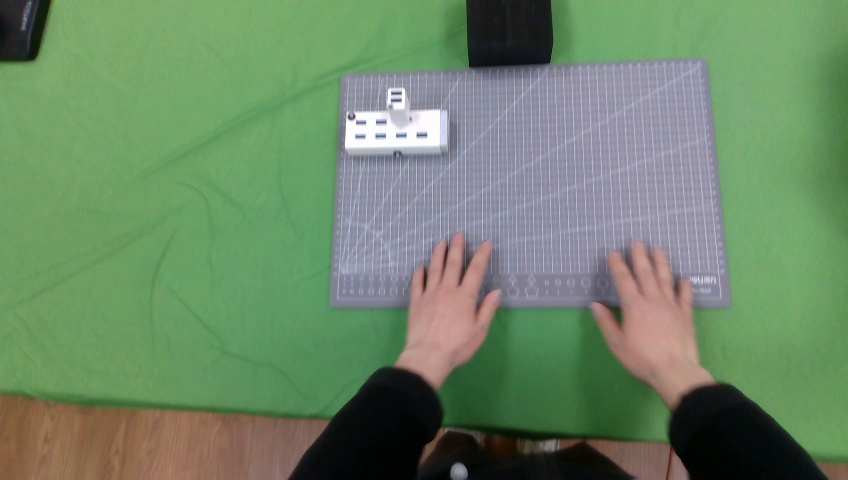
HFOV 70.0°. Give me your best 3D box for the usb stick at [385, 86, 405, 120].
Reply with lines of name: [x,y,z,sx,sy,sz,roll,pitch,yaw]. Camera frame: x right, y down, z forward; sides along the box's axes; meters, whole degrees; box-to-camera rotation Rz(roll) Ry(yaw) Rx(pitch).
usb stick: [-0.034,-0.158,0.713,0.021,0.059,0.027,2,78,0]

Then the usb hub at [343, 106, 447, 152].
usb hub: [-0.035,-0.136,0.738,0.125,0.025,0.049,-1,76,5]
